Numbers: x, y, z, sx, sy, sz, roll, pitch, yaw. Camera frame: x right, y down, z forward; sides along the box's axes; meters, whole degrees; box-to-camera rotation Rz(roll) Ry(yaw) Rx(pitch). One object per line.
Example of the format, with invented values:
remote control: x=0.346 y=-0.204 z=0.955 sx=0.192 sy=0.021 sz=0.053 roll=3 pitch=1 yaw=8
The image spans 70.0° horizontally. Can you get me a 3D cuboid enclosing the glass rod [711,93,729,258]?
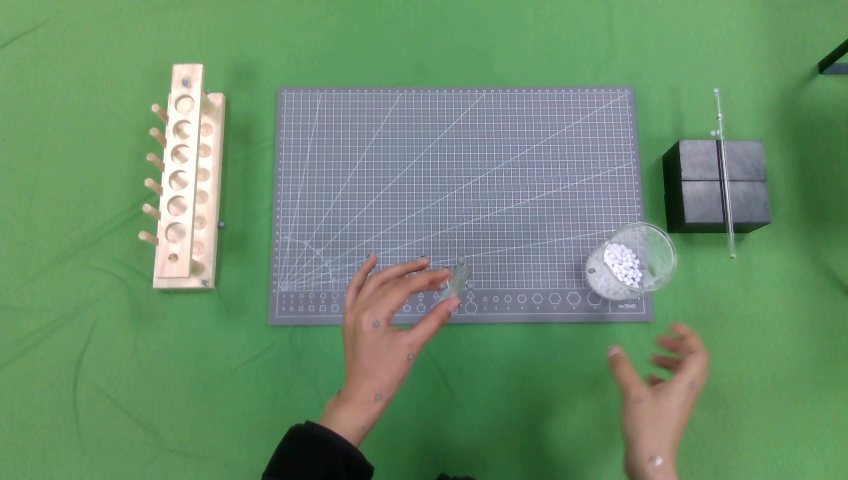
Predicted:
glass rod: x=0.342 y=-0.077 z=0.700 sx=0.008 sy=0.008 sz=0.199 roll=2 pitch=78 yaw=-1

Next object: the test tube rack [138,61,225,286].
test tube rack: x=-0.280 y=-0.073 z=0.692 sx=0.067 sy=0.085 sz=0.241 roll=0 pitch=78 yaw=-1

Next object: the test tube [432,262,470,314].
test tube: x=0.023 y=0.048 z=0.567 sx=0.017 sy=0.151 sz=0.017 roll=2 pitch=71 yaw=-6

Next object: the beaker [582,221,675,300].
beaker: x=0.220 y=0.027 z=0.674 sx=0.084 sy=0.100 sz=0.073 roll=1 pitch=77 yaw=0
